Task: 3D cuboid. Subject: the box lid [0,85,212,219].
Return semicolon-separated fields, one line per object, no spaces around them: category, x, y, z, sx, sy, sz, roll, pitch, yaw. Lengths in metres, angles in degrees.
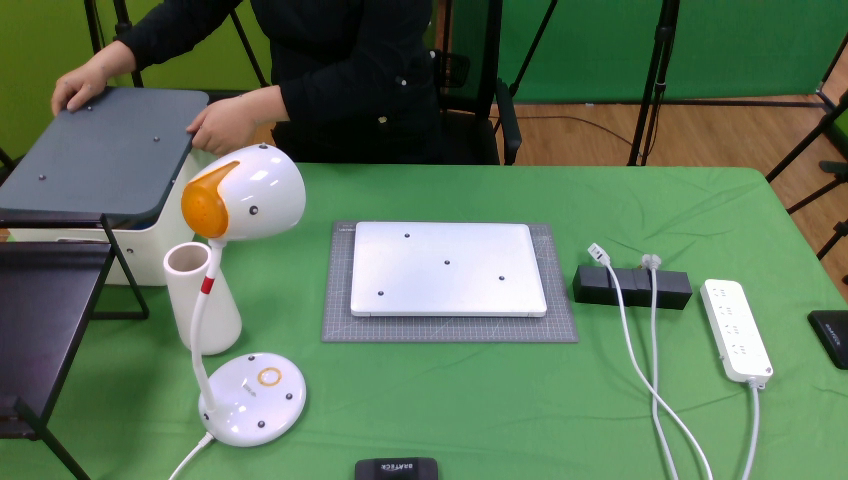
box lid;-0.548;-0.167;1.068;0.263;0.015;0.369;2;45;-2

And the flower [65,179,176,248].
flower;-0.569;-0.061;1.199;0.044;0.038;0.361;43;52;-5

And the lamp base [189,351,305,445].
lamp base;-0.268;0.196;0.876;0.160;0.181;0.179;26;52;20

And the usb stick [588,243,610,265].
usb stick;0.336;0.024;1.172;0.027;0.021;0.059;33;17;-12

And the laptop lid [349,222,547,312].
laptop lid;0.041;0.046;1.143;0.357;0.013;0.240;2;43;-3

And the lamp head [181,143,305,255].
lamp head;-0.216;-0.044;0.697;0.112;0.113;0.123;23;31;17

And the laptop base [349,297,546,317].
laptop base;0.040;0.055;1.149;0.355;0.023;0.234;1;42;-4

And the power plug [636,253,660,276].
power plug;0.415;0.050;1.139;0.035;0.053;0.072;46;49;10

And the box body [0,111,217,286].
box body;-0.560;-0.092;1.145;0.254;0.161;0.361;3;46;-2

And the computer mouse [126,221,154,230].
computer mouse;-0.537;0.008;1.127;0.062;0.041;0.117;31;55;20

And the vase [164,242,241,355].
vase;-0.349;0.096;0.954;0.098;0.201;0.097;3;47;-3

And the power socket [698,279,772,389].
power socket;0.551;0.157;1.081;0.072;0.033;0.225;5;46;1
